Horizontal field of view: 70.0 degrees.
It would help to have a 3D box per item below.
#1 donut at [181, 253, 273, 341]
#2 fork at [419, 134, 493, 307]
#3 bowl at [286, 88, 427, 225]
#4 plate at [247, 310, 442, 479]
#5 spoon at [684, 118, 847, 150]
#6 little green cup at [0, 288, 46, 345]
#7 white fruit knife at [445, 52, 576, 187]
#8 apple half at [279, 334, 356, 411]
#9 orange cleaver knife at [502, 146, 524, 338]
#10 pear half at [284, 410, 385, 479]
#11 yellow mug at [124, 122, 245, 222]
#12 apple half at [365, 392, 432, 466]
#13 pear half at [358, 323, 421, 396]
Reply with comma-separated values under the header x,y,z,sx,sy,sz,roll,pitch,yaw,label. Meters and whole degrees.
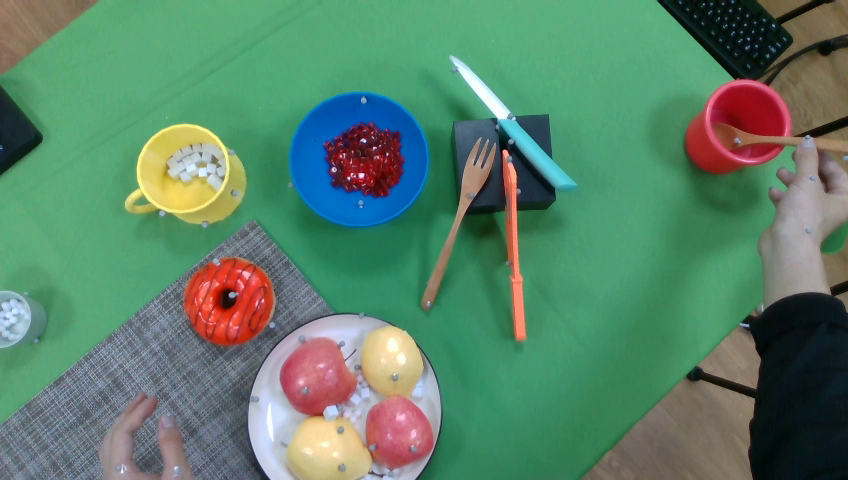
x,y,z,sx,sy,sz,roll,pitch,yaw,label
-0.217,0.063,0.670,0.099,0.048,0.099,0,84,0,donut
0.032,-0.017,0.670,0.028,0.018,0.208,18,102,-7,fork
-0.072,-0.085,0.682,0.151,0.077,0.151,0,82,-2,bowl
-0.084,0.180,0.660,0.209,0.038,0.208,0,82,-2,plate
0.383,-0.111,0.663,0.022,0.192,0.041,33,78,-42,spoon
-0.453,0.085,0.667,0.061,0.039,0.061,0,82,-1,little green cup
0.092,-0.135,0.675,0.027,0.016,0.207,-36,81,-35,white fruit knife
-0.116,0.144,0.647,0.075,0.053,0.080,-24,86,-4,apple half
0.097,0.004,0.671,0.012,0.077,0.212,-5,107,3,orange cleaver knife
-0.090,0.227,0.640,0.110,0.056,0.076,22,86,-2,pear half
-0.274,-0.067,0.680,0.131,0.064,0.099,-30,83,-5,yellow mug
-0.035,0.203,0.641,0.081,0.033,0.081,1,94,19,apple half
-0.041,0.136,0.653,0.070,0.031,0.088,-11,92,20,pear half
